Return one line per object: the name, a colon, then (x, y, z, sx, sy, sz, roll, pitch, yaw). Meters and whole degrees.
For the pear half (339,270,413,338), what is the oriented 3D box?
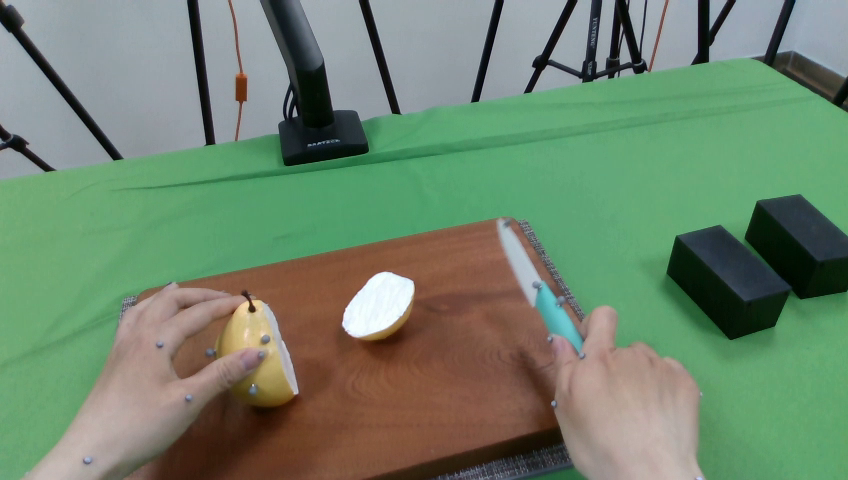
pear half: (-0.039, 0.062, 0.546, 0.070, 0.031, 0.087, -15, 26, 10)

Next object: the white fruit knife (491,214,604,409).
white fruit knife: (0.096, 0.046, 0.506, 0.016, 0.027, 0.205, 7, 39, -30)

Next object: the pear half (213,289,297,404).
pear half: (-0.138, 0.081, 0.472, 0.056, 0.111, 0.075, -20, 39, -17)
